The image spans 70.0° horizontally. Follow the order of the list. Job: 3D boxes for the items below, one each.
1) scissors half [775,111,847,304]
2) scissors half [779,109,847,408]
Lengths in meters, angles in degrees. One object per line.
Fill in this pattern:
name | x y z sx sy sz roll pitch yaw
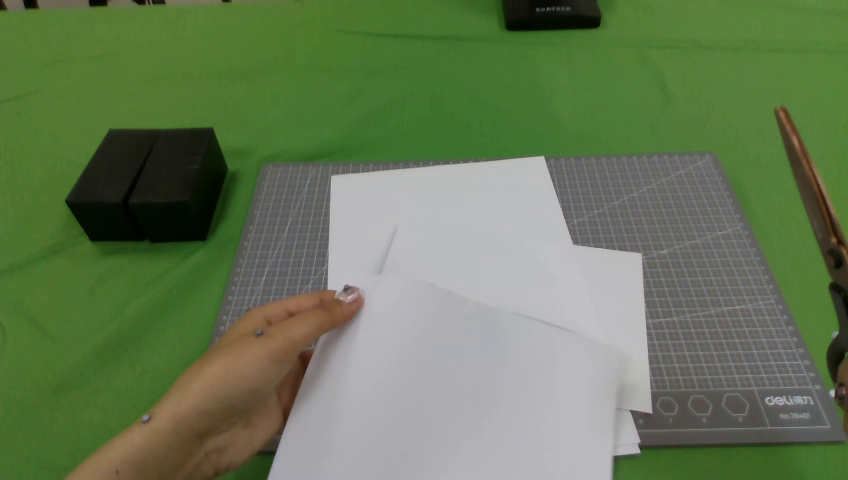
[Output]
scissors half | 0.195 0.020 0.271 0.013 0.040 0.174 -19 79 0
scissors half | 0.197 0.021 0.291 0.013 0.175 0.040 -19 6 5
